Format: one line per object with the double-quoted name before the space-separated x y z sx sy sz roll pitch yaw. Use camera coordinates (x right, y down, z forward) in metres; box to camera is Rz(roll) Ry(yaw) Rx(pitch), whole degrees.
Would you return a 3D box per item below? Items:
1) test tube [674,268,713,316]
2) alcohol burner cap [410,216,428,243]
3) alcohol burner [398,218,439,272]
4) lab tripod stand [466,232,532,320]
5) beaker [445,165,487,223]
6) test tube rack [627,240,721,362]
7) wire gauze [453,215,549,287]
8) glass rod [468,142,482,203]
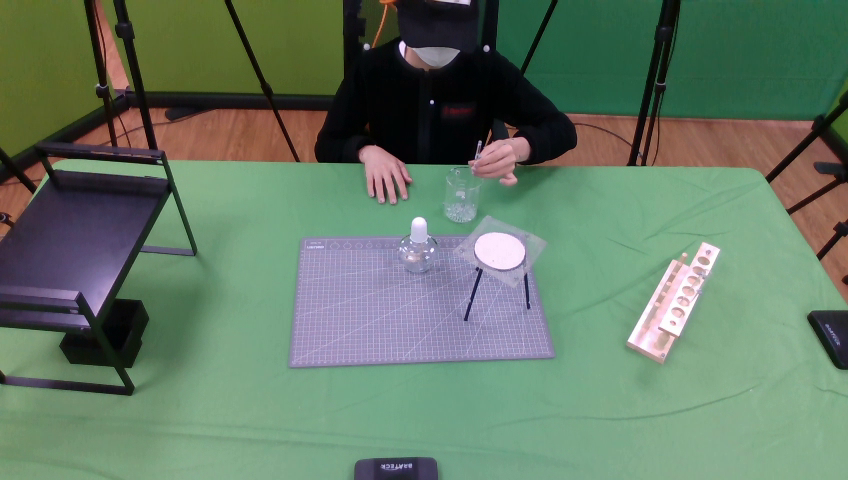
"test tube" 0.445 0.098 1.017 0.017 0.151 0.017 4 48 -4
"alcohol burner cap" -0.009 -0.022 1.099 0.034 0.048 0.033 2 41 -1
"alcohol burner" -0.010 0.004 1.123 0.078 0.120 0.077 1 47 0
"lab tripod stand" 0.125 0.059 1.065 0.148 0.132 0.147 1 45 0
"beaker" 0.082 -0.092 1.236 0.084 0.101 0.073 -7 48 -11
"test tube rack" 0.452 0.098 1.087 0.066 0.085 0.242 28 51 22
"wire gauze" 0.129 0.012 1.017 0.124 0.011 0.121 28 50 23
"glass rod" 0.100 -0.130 1.197 0.008 0.200 0.008 1 60 -2
